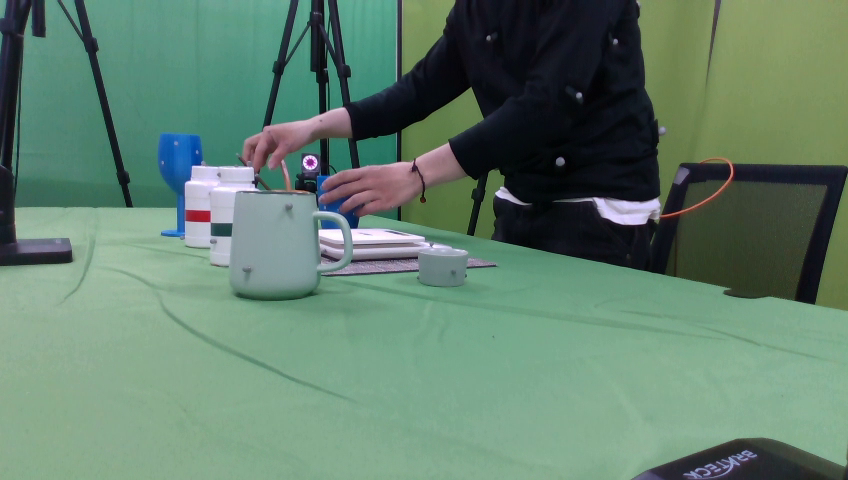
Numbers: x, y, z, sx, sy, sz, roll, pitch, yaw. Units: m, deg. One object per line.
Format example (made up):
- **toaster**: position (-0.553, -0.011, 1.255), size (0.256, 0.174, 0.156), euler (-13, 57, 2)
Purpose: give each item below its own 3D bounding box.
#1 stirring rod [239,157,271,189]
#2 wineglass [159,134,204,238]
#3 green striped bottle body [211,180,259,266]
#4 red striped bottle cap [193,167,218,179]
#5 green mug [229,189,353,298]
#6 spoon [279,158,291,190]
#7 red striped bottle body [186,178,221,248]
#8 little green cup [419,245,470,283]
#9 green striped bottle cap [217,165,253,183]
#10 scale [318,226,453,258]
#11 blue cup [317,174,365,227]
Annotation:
- **stirring rod**: position (-0.308, -0.100, 1.214), size (0.006, 0.177, 0.014), euler (-38, 25, 4)
- **wineglass**: position (-0.415, -0.093, 1.040), size (0.074, 0.172, 0.073), euler (2, 7, 0)
- **green striped bottle body**: position (-0.243, -0.029, 0.784), size (0.063, 0.119, 0.063), euler (2, 7, 0)
- **red striped bottle cap**: position (-0.329, -0.103, 0.921), size (0.044, 0.017, 0.044), euler (-1, 9, 0)
- **green mug**: position (-0.135, 0.002, 0.618), size (0.125, 0.105, 0.092), euler (2, 7, 4)
- **spoon**: position (-0.281, -0.103, 1.251), size (0.042, 0.193, 0.021), euler (16, -46, -37)
- **red striped bottle body**: position (-0.331, -0.050, 0.927), size (0.063, 0.119, 0.063), euler (2, 6, 0)
- **little green cup**: position (0.023, 0.028, 0.712), size (0.061, 0.038, 0.061), euler (1, 6, 0)
- **green striped bottle cap**: position (-0.242, -0.085, 0.777), size (0.044, 0.020, 0.044), euler (2, 9, 0)
- **scale**: position (-0.066, 0.001, 0.906), size (0.202, 0.031, 0.148), euler (-2, 8, -31)
- **blue cup**: position (-0.148, -0.064, 1.071), size (0.093, 0.100, 0.092), euler (2, 8, 0)
